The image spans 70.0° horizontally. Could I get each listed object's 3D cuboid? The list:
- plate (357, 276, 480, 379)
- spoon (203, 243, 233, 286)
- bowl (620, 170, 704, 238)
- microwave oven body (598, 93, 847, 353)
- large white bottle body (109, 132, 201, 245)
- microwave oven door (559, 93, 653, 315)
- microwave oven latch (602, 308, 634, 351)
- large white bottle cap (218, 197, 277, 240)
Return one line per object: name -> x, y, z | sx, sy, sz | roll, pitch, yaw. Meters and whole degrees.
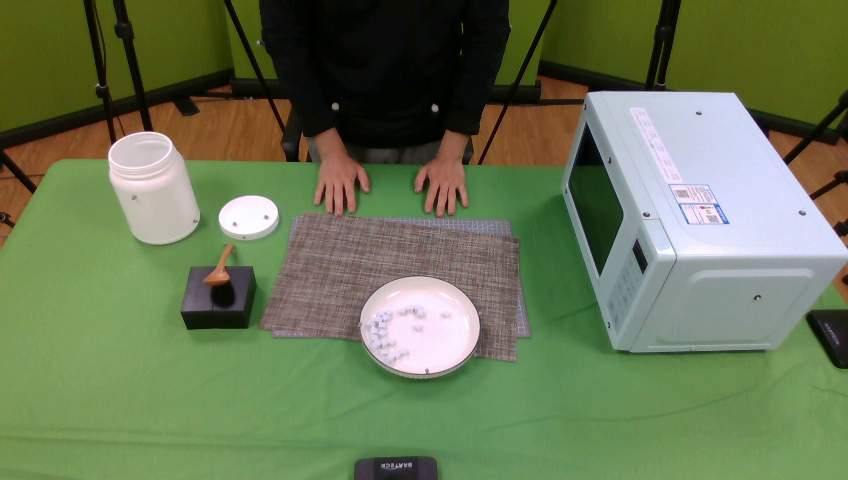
plate -> -0.009, 0.151, 1.038 | 0.209, 0.038, 0.208 | 2, 47, -2
spoon -> -0.360, 0.039, 1.087 | 0.041, 0.022, 0.192 | -5, 24, -7
bowl -> 0.445, -0.057, 1.166 | 0.151, 0.077, 0.150 | 2, 46, -2
microwave oven body -> 0.475, -0.041, 1.109 | 0.326, 0.261, 0.438 | -1, 45, -4
large white bottle body -> -0.506, -0.097, 1.141 | 0.131, 0.185, 0.130 | 2, 46, -2
microwave oven door -> 0.327, -0.074, 1.123 | 0.039, 0.245, 0.353 | -1, 46, -5
microwave oven latch -> 0.332, 0.153, 1.044 | 0.030, 0.029, 0.078 | -1, 45, -4
large white bottle cap -> -0.354, -0.045, 1.220 | 0.115, 0.018, 0.114 | 2, 45, -2
